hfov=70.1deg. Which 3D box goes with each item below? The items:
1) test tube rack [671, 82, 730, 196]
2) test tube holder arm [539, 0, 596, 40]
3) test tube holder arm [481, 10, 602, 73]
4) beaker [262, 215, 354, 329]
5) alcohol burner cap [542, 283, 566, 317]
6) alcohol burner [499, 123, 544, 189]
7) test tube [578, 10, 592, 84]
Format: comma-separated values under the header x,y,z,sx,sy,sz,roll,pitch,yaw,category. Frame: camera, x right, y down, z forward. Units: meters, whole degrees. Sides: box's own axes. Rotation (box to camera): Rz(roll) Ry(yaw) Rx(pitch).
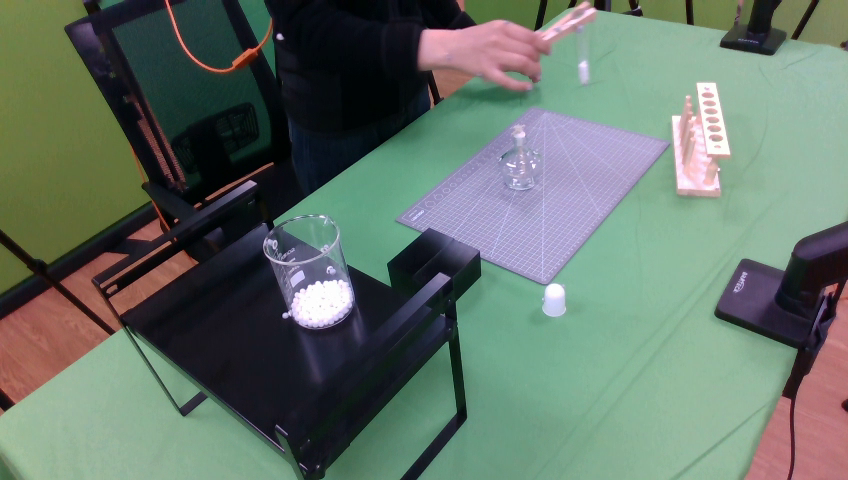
x,y,z,sx,sy,sz,roll,pitch,yaw,category
0.482,-0.184,1.067,0.066,0.085,0.242,5,42,15,test tube rack
0.201,-0.305,0.848,0.088,0.015,0.010,-35,73,6,test tube holder arm
0.164,-0.279,0.852,0.178,0.015,0.013,-24,73,9,test tube holder arm
-0.112,0.034,0.616,0.073,0.101,0.084,13,44,23,beaker
0.181,0.080,0.839,0.034,0.048,0.033,-4,41,4,alcohol burner cap
0.168,-0.149,1.048,0.078,0.119,0.077,-6,41,5,alcohol burner
0.242,-0.285,0.905,0.017,0.151,0.017,-7,65,15,test tube
